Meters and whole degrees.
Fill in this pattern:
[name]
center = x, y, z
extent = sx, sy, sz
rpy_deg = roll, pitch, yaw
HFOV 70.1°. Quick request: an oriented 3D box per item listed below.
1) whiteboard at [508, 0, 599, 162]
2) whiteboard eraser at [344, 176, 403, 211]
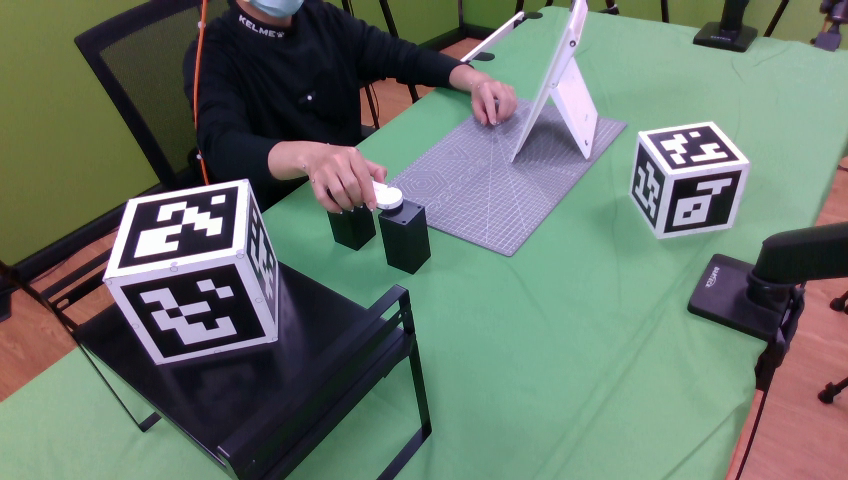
[whiteboard]
center = 0.285, -0.289, 1.090
extent = 0.144, 0.305, 0.217
rpy_deg = 22, 45, 3
[whiteboard eraser]
center = -0.076, -0.071, 0.911
extent = 0.100, 0.019, 0.041
rpy_deg = 21, 50, 29
